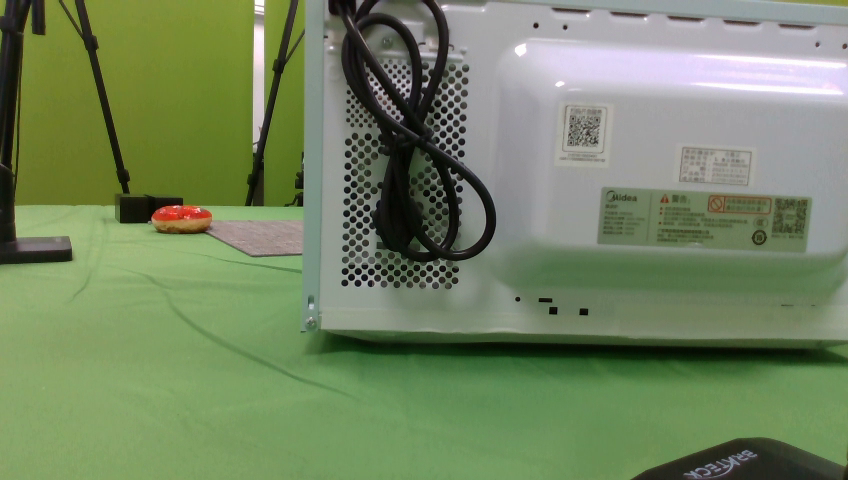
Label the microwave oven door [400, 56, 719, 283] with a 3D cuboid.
[{"bbox_3d":[0.155,-0.077,0.697,0.356,0.243,0.039,2,8,-5],"label":"microwave oven door"}]

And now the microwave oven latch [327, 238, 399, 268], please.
[{"bbox_3d":[-0.069,0.015,0.694,0.079,0.029,0.030,3,7,-3],"label":"microwave oven latch"}]

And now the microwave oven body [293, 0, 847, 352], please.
[{"bbox_3d":[0.122,-0.055,0.550,0.442,0.260,0.325,3,7,-5],"label":"microwave oven body"}]

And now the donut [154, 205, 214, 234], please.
[{"bbox_3d":[-0.426,-0.037,1.075,0.099,0.048,0.099,2,12,0],"label":"donut"}]
